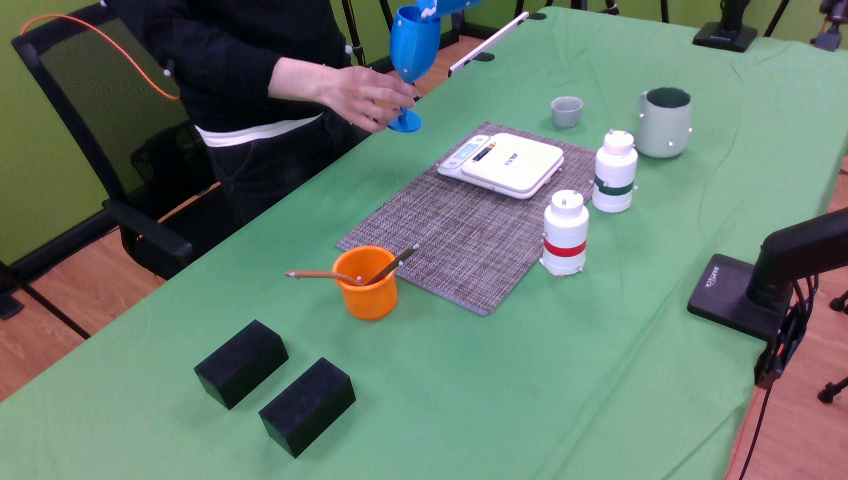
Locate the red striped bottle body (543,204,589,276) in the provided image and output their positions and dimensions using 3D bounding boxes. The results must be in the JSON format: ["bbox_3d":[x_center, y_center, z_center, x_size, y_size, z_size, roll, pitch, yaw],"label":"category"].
[{"bbox_3d":[0.205,-0.011,0.878,0.063,0.120,0.062,-5,41,4],"label":"red striped bottle body"}]

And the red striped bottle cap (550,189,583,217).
[{"bbox_3d":[0.199,-0.052,0.843,0.044,0.018,0.044,-1,42,2],"label":"red striped bottle cap"}]

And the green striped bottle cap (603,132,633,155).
[{"bbox_3d":[0.302,-0.149,0.938,0.044,0.020,0.044,-3,39,3],"label":"green striped bottle cap"}]

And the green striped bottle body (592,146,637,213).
[{"bbox_3d":[0.307,-0.108,0.976,0.063,0.120,0.063,-4,41,4],"label":"green striped bottle body"}]

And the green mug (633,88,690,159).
[{"bbox_3d":[0.423,-0.217,1.099,0.093,0.105,0.124,-16,41,-10],"label":"green mug"}]

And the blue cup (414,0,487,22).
[{"bbox_3d":[0.044,-0.356,0.837,0.100,0.093,0.092,-20,42,-17],"label":"blue cup"}]

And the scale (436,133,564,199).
[{"bbox_3d":[0.137,-0.142,1.101,0.199,0.032,0.149,22,48,30],"label":"scale"}]

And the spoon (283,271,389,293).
[{"bbox_3d":[-0.117,0.054,0.825,0.041,0.195,0.021,17,89,38],"label":"spoon"}]

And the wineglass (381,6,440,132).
[{"bbox_3d":[-0.022,-0.251,0.900,0.074,0.172,0.073,8,42,-6],"label":"wineglass"}]

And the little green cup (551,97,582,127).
[{"bbox_3d":[0.284,-0.255,1.213,0.061,0.039,0.061,-4,41,4],"label":"little green cup"}]

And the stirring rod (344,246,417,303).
[{"bbox_3d":[-0.062,0.050,0.819,0.014,0.175,0.006,-2,63,-40],"label":"stirring rod"}]
